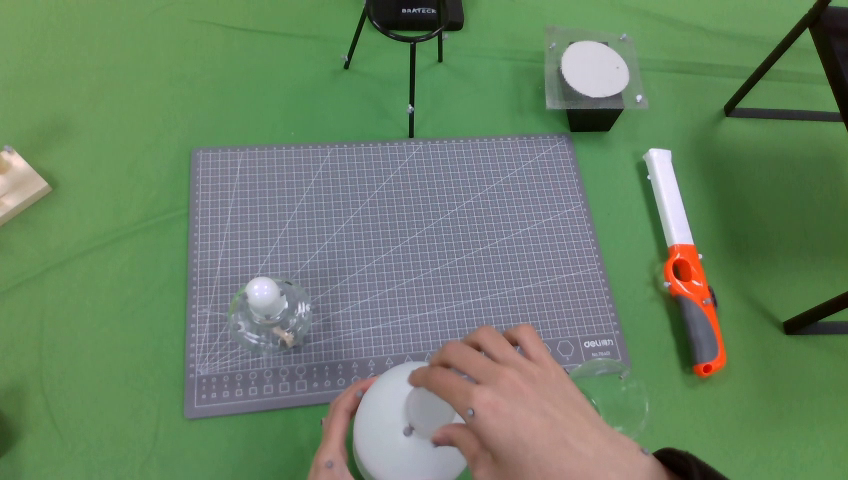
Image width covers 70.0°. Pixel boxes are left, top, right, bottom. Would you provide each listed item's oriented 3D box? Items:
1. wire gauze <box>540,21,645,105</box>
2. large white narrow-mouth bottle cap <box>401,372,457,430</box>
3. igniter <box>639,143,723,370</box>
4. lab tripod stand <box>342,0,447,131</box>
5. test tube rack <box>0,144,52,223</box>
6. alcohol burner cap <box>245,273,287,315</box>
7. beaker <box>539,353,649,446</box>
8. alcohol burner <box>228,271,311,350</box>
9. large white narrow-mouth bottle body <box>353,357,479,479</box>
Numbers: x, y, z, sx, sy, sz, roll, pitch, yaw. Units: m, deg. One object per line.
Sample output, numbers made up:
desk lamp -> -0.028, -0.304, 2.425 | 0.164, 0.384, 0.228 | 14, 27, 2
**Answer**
wire gauze -> 0.202, -0.214, 0.738 | 0.122, 0.011, 0.124 | 3, 66, -6
large white narrow-mouth bottle cap -> 0.003, 0.110, 0.414 | 0.038, 0.024, 0.037 | 3, 65, -6
igniter -> 0.292, 0.011, 0.693 | 0.057, 0.025, 0.274 | 3, 66, -18
lab tripod stand -> -0.025, -0.221, 0.697 | 0.149, 0.132, 0.147 | 4, 66, -8
test tube rack -> -0.496, -0.016, 0.570 | 0.066, 0.085, 0.242 | 41, 67, 11
alcohol burner cap -> -0.140, 0.046, 0.531 | 0.034, 0.048, 0.033 | 1, 72, -4
beaker -> 0.152, 0.153, 0.573 | 0.084, 0.101, 0.073 | 27, 65, 6
alcohol burner -> -0.145, 0.060, 0.564 | 0.078, 0.120, 0.077 | 4, 64, -8
large white narrow-mouth bottle body -> -0.008, 0.151, 0.501 | 0.102, 0.196, 0.101 | 3, 65, -6
